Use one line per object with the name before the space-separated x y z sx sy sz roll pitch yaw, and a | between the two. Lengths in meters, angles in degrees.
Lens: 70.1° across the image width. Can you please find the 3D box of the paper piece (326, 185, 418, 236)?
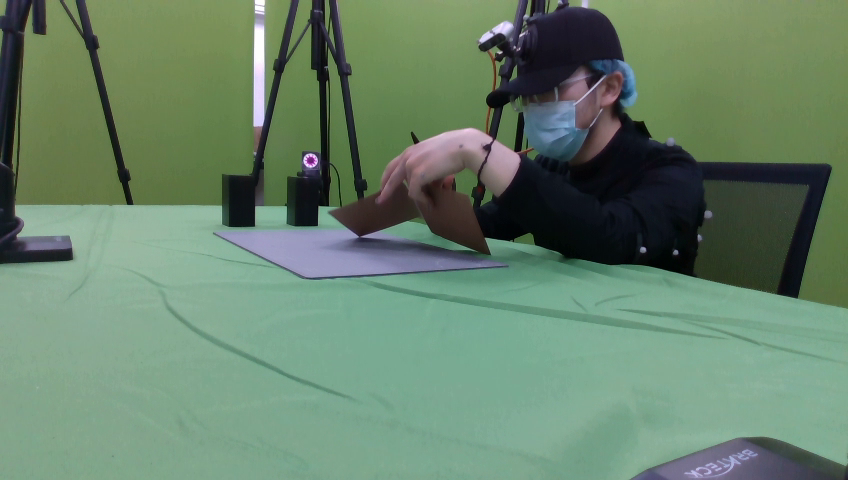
paper piece | -0.076 -0.047 1.009 0.135 0.004 0.136 -21 -19 11

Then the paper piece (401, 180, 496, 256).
paper piece | 0.039 -0.035 0.940 0.137 0.008 0.136 16 -30 37

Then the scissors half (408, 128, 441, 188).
scissors half | 0.003 -0.117 1.024 0.040 0.175 0.012 -40 42 -23

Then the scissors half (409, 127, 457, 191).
scissors half | 0.015 -0.131 1.031 0.013 0.040 0.176 20 -20 41
